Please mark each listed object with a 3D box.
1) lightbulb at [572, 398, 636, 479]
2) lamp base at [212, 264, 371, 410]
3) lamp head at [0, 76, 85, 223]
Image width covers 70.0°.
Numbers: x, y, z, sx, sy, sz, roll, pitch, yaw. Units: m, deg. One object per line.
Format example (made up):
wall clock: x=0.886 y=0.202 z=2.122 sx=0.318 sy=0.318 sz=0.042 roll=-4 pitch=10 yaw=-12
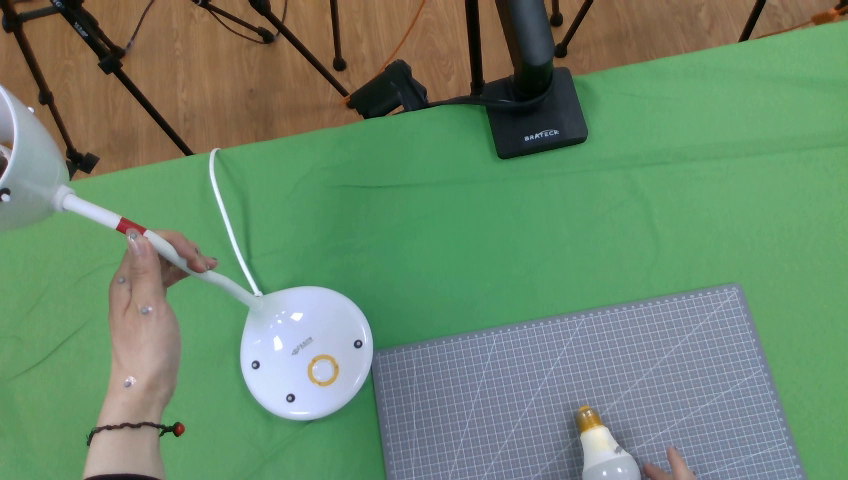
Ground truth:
lightbulb: x=0.190 y=0.223 z=0.659 sx=0.059 sy=0.060 sz=0.106 roll=-16 pitch=56 yaw=1
lamp base: x=-0.161 y=0.093 z=0.664 sx=0.178 sy=0.181 sz=0.160 roll=37 pitch=79 yaw=18
lamp head: x=-0.312 y=-0.058 z=0.435 sx=0.112 sy=0.123 sz=0.112 roll=0 pitch=79 yaw=2
